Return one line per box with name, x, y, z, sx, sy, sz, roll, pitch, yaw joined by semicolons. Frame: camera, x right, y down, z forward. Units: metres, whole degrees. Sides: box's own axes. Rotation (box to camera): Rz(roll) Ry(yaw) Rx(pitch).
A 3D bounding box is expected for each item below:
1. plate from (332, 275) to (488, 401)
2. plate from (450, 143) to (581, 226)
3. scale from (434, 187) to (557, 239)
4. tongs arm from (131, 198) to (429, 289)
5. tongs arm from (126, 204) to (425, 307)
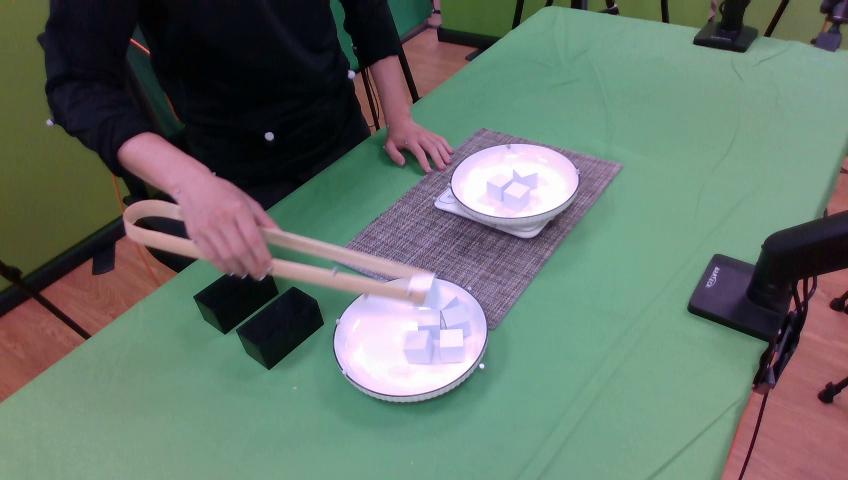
plate;-0.017;0.131;0.808;0.207;0.039;0.206;-4;41;4
plate;0.148;-0.087;0.986;0.209;0.038;0.208;-4;41;4
scale;0.132;-0.075;1.025;0.199;0.032;0.149;22;48;30
tongs arm;-0.182;0.006;0.778;0.388;0.028;0.028;15;46;0
tongs arm;-0.186;0.020;0.761;0.385;0.026;0.050;12;43;-4
